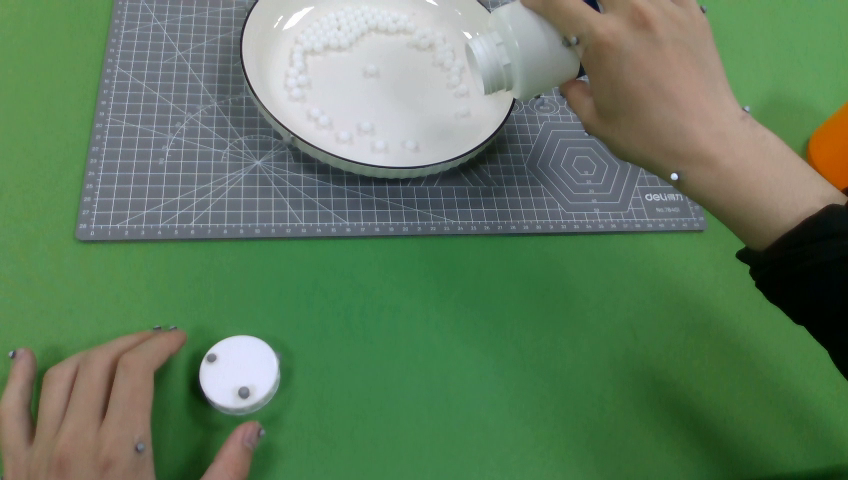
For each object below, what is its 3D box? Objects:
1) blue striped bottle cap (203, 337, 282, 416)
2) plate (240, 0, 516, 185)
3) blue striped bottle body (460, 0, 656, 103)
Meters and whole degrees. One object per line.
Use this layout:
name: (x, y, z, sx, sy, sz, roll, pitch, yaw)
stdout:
blue striped bottle cap: (-0.107, 0.080, 0.357, 0.045, 0.021, 0.044, 4, 64, -8)
plate: (-0.032, -0.126, 0.466, 0.208, 0.039, 0.206, 5, 61, -9)
blue striped bottle body: (0.087, -0.134, 0.410, 0.121, 0.063, 0.062, -20, 66, -2)
